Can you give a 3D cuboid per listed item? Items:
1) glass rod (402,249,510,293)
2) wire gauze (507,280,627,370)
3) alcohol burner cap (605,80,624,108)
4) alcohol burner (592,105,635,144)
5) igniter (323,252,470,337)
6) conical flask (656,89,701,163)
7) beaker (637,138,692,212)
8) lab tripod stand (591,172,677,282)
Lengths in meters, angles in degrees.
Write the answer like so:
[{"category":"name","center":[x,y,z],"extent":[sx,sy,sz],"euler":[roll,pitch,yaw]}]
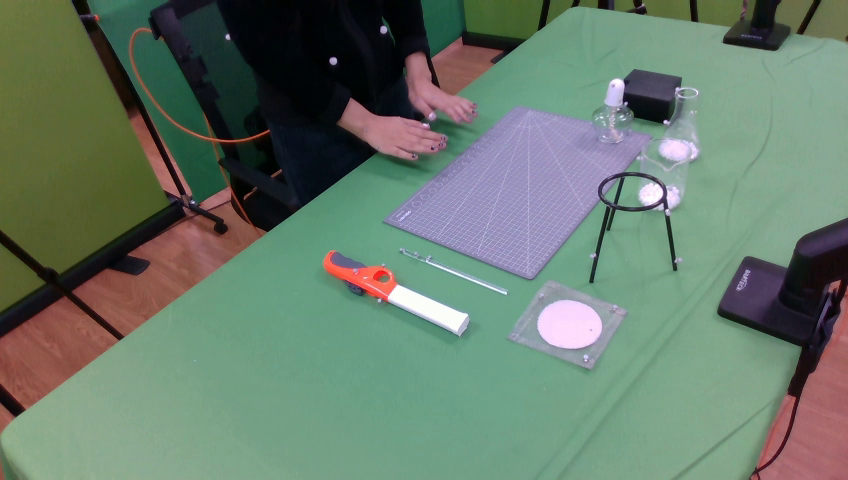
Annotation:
[{"category":"glass rod","center":[0.045,0.046,0.932],"extent":[0.198,0.008,0.008],"euler":[20,49,31]},{"category":"wire gauze","center":[0.196,0.114,0.823],"extent":[0.120,0.011,0.125],"euler":[20,50,31]},{"category":"alcohol burner cap","center":[0.350,-0.269,1.102],"extent":[0.034,0.048,0.033],"euler":[-2,46,3]},{"category":"alcohol burner","center":[0.353,-0.242,1.126],"extent":[0.078,0.119,0.077],"euler":[-5,38,5]},{"category":"igniter","center":[-0.052,0.075,0.901],"extent":[0.274,0.025,0.057],"euler":[22,60,32]},{"category":"conical flask","center":[0.452,-0.201,1.057],"extent":[0.075,0.122,0.075],"euler":[-6,40,5]},{"category":"beaker","center":[0.383,-0.100,0.970],"extent":[0.074,0.101,0.084],"euler":[2,42,14]},{"category":"lab tripod stand","center":[0.292,-0.022,0.867],"extent":[0.148,0.132,0.147],"euler":[-7,39,6]}]
